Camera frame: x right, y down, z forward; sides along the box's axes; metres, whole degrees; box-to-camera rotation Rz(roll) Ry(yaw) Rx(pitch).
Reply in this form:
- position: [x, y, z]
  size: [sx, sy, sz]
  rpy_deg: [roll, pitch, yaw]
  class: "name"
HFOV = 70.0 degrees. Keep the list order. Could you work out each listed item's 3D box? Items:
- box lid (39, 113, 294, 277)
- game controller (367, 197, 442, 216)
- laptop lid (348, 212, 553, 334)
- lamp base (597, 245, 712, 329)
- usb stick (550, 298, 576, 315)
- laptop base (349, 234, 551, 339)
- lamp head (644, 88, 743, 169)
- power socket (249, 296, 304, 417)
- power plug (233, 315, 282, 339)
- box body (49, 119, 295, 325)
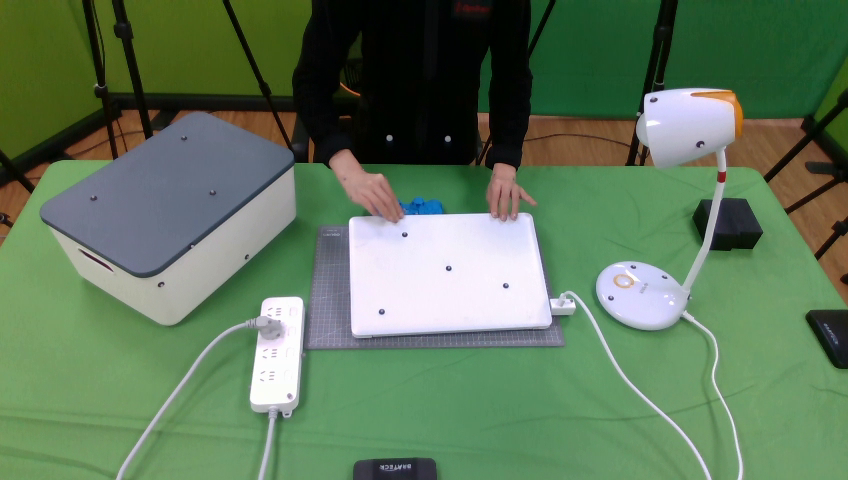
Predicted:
- position: [-0.435, -0.096, 1.056]
  size: [0.262, 0.015, 0.370]
  rpy_deg: [25, 48, 18]
  class: "box lid"
- position: [-0.038, -0.057, 1.231]
  size: [0.155, 0.052, 0.096]
  rpy_deg: [-2, 48, -6]
  class: "game controller"
- position: [0.042, 0.052, 1.088]
  size: [0.357, 0.013, 0.240]
  rpy_deg: [0, 61, -6]
  class: "laptop lid"
- position: [0.418, 0.051, 1.071]
  size: [0.179, 0.181, 0.160]
  rpy_deg: [22, 49, 13]
  class: "lamp base"
- position: [0.240, 0.120, 1.085]
  size: [0.059, 0.027, 0.021]
  rpy_deg: [-2, 50, -3]
  class: "usb stick"
- position: [0.039, 0.081, 1.125]
  size: [0.355, 0.023, 0.234]
  rpy_deg: [-2, 43, -6]
  class: "laptop base"
- position: [0.380, -0.161, 0.851]
  size: [0.122, 0.113, 0.112]
  rpy_deg: [-4, 42, 25]
  class: "lamp head"
- position: [-0.239, 0.182, 0.996]
  size: [0.072, 0.033, 0.225]
  rpy_deg: [-2, 47, -5]
  class: "power socket"
- position: [-0.271, 0.144, 0.999]
  size: [0.072, 0.053, 0.035]
  rpy_deg: [6, 46, 3]
  class: "power plug"
- position: [-0.437, -0.046, 1.110]
  size: [0.253, 0.161, 0.363]
  rpy_deg: [24, 49, 18]
  class: "box body"
